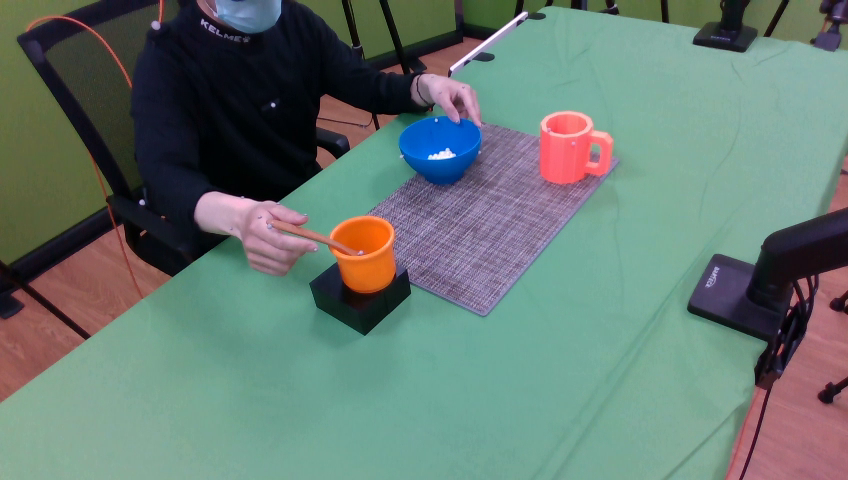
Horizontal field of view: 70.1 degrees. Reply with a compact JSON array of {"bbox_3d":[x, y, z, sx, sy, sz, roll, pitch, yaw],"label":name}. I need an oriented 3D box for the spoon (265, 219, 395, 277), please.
[{"bbox_3d":[-0.120,0.008,0.801,0.021,0.195,0.041,-40,40,30],"label":"spoon"}]

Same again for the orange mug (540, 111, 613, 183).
[{"bbox_3d":[0.263,-0.159,1.052,0.125,0.101,0.083,13,45,28],"label":"orange mug"}]

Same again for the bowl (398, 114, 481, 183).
[{"bbox_3d":[0.031,-0.156,1.097,0.151,0.077,0.150,-4,41,4],"label":"bowl"}]
